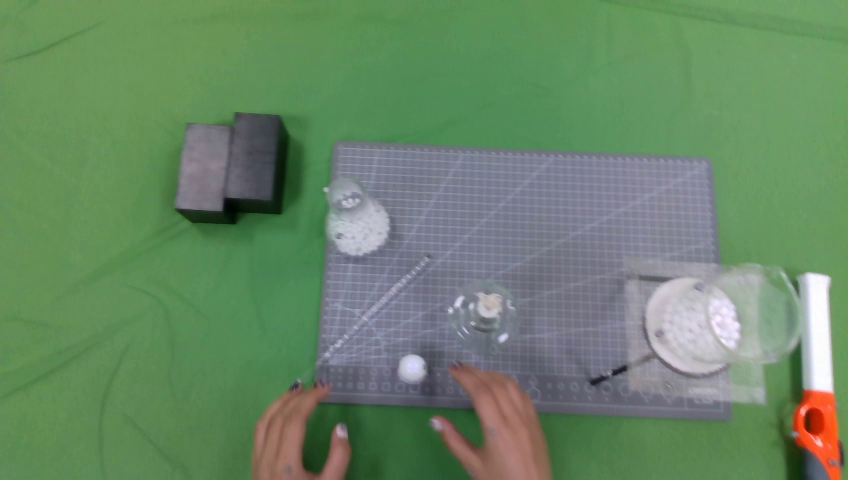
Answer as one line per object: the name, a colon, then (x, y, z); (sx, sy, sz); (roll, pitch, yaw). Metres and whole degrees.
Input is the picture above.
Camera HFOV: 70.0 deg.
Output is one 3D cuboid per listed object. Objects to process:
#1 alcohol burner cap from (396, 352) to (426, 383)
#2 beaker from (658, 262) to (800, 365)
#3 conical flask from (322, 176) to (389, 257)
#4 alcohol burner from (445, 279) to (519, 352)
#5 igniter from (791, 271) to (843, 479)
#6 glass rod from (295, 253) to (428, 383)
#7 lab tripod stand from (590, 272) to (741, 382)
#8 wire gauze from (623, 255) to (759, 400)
alcohol burner cap: (-0.014, 0.134, 0.638); (0.034, 0.048, 0.033); (0, 77, -1)
beaker: (0.244, 0.061, 0.498); (0.074, 0.100, 0.084); (38, 79, 7)
conical flask: (-0.076, -0.030, 0.634); (0.075, 0.122, 0.075); (0, 76, -1)
alcohol burner: (0.060, 0.075, 0.617); (0.078, 0.119, 0.077); (0, 76, 1)
igniter: (0.420, 0.169, 0.651); (0.057, 0.025, 0.275); (9, 76, -10)
glass rod: (-0.066, 0.083, 0.665); (0.199, 0.008, 0.008); (-44, 81, -11)
lab tripod stand: (0.238, 0.094, 0.607); (0.148, 0.132, 0.147); (0, 78, -1)
wire gauze: (0.240, 0.077, 0.543); (0.125, 0.011, 0.121); (6, 79, -2)
